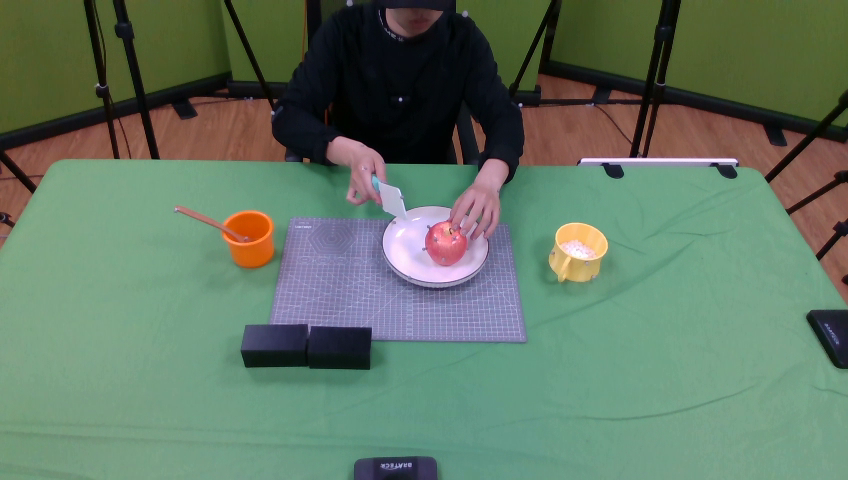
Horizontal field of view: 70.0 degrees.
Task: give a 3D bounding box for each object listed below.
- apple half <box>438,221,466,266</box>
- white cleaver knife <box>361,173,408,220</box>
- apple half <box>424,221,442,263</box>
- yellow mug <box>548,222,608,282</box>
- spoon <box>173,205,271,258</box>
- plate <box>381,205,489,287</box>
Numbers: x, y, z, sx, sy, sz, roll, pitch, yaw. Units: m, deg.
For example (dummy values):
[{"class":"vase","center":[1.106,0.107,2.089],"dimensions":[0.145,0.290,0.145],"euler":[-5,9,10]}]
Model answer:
[{"class":"apple half","center":[0.053,0.009,1.142],"dimensions":[0.053,0.075,0.080],"euler":[6,42,-3]},{"class":"white cleaver knife","center":[-0.079,-0.082,1.129],"dimensions":[0.021,0.066,0.285],"euler":[-16,16,-13]},{"class":"apple half","center":[0.015,0.005,1.141],"dimensions":[0.033,0.081,0.081],"euler":[6,46,-4]},{"class":"yellow mug","center":[0.287,0.031,1.159],"dimensions":[0.099,0.064,0.130],"euler":[27,51,21]},{"class":"spoon","center":[-0.362,-0.017,1.098],"dimensions":[0.021,0.195,0.041],"euler":[-32,42,27]},{"class":"plate","center":[0.021,0.015,1.170],"dimensions":[0.209,0.038,0.208],"euler":[2,46,-2]}]
